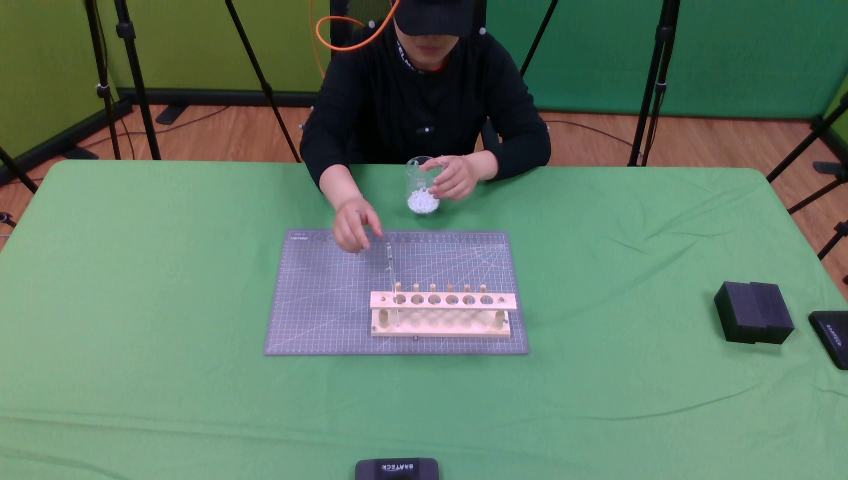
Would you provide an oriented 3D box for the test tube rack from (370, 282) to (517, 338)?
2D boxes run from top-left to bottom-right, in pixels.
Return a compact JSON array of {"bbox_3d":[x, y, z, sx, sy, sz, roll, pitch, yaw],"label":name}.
[{"bbox_3d":[0.030,0.116,1.041,0.242,0.085,0.066,1,46,-3],"label":"test tube rack"}]

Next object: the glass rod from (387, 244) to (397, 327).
[{"bbox_3d":[-0.051,0.078,0.979,0.008,0.201,0.008,-1,45,1],"label":"glass rod"}]

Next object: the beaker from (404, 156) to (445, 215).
[{"bbox_3d":[0.001,-0.108,1.218,0.084,0.101,0.073,-13,49,-15],"label":"beaker"}]
